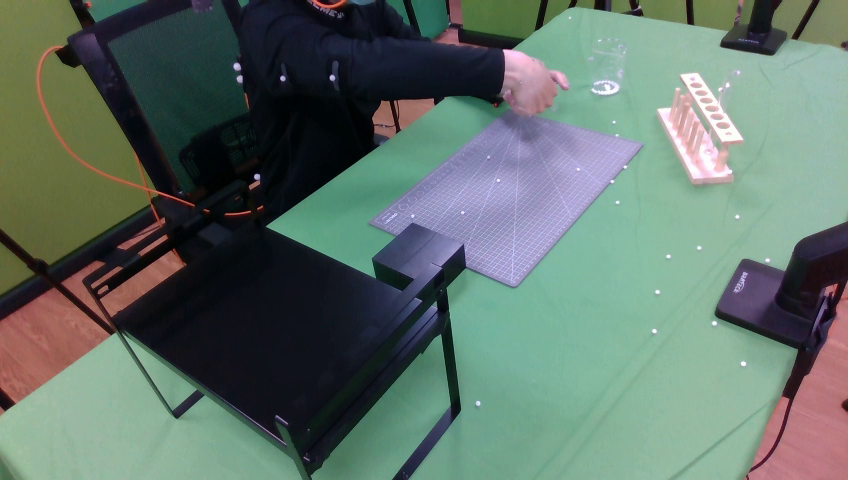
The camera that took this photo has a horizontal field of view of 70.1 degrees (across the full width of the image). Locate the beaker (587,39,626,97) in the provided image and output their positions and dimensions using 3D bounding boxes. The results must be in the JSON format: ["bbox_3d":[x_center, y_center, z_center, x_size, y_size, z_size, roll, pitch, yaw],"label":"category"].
[{"bbox_3d":[0.386,-0.361,1.280,0.074,0.101,0.083,-22,43,-15],"label":"beaker"}]

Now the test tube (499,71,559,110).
[{"bbox_3d":[0.198,-0.277,1.128,0.152,0.017,0.017,20,28,-33],"label":"test tube"}]

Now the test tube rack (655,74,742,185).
[{"bbox_3d":[0.488,-0.205,1.093,0.067,0.085,0.241,-3,40,5],"label":"test tube rack"}]

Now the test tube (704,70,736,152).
[{"bbox_3d":[0.501,-0.216,1.028,0.017,0.151,0.017,-2,40,2],"label":"test tube"}]
